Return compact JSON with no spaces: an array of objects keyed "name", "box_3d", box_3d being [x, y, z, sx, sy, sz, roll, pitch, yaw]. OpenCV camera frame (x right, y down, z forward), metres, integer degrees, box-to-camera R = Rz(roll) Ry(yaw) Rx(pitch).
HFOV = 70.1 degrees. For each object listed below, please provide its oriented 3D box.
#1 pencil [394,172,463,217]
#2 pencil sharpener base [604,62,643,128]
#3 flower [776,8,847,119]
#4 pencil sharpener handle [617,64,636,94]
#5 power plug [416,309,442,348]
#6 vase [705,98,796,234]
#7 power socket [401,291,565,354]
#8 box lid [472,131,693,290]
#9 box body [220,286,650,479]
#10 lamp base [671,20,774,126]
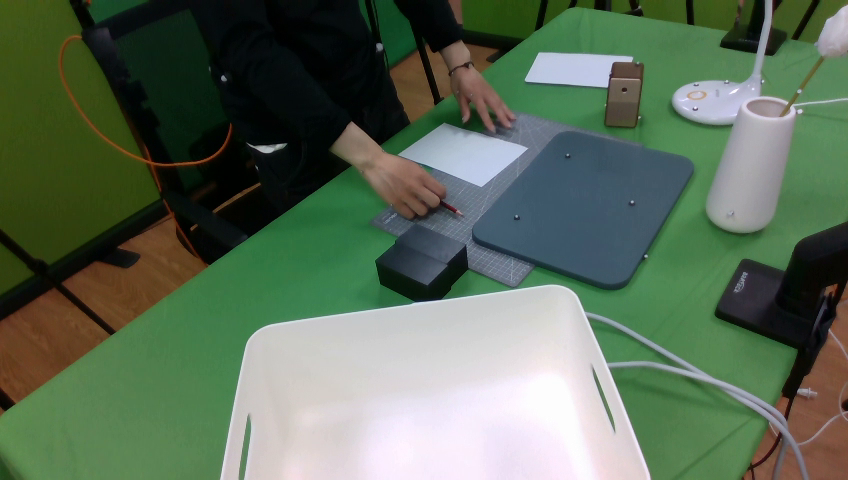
[{"name":"pencil","box_3d":[0.005,-0.081,1.071,0.012,0.012,0.192,-31,44,-25]},{"name":"pencil sharpener base","box_3d":[0.390,-0.284,1.182,0.061,0.107,0.076,7,42,17]},{"name":"flower","box_3d":[0.476,-0.156,0.823,0.038,0.362,0.044,8,58,2]},{"name":"pencil sharpener handle","box_3d":[0.401,-0.327,1.211,0.036,0.068,0.030,16,44,8]},{"name":"power plug","box_3d":[0.004,0.121,0.787,0.035,0.053,0.072,2,46,8]},{"name":"vase","box_3d":[0.480,-0.104,0.889,0.098,0.201,0.097,-4,42,4]},{"name":"power socket","box_3d":[0.079,0.111,0.823,0.227,0.033,0.072,-5,41,1]},{"name":"box lid","box_3d":[0.273,-0.068,1.020,0.261,0.015,0.372,20,47,28]},{"name":"box body","box_3d":[0.006,0.210,0.618,0.364,0.161,0.252,-8,40,-1]},{"name":"lamp base","box_3d":[0.581,-0.332,1.154,0.179,0.181,0.160,2,42,7]}]
